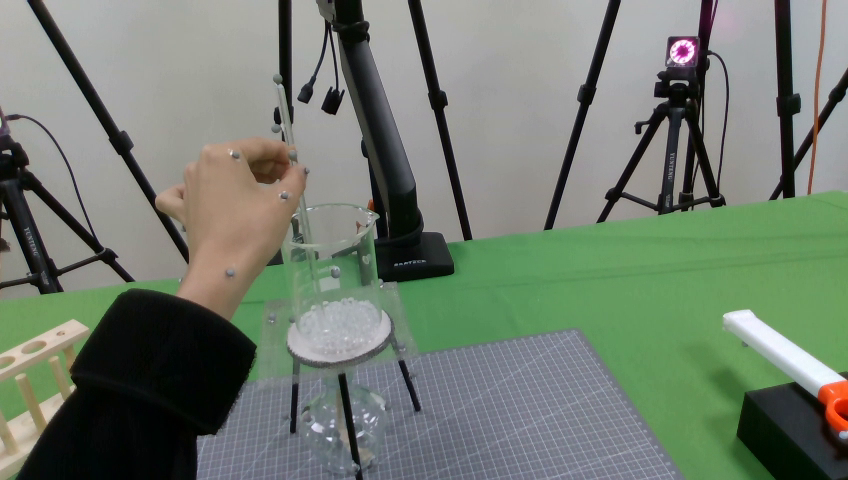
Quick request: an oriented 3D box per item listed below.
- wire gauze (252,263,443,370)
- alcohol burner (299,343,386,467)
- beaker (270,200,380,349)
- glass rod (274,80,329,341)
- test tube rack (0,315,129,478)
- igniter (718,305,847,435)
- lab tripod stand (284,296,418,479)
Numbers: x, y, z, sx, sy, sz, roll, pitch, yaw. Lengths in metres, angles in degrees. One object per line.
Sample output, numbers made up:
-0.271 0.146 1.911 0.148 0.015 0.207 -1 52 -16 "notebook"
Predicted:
-0.065 0.059 0.488 0.125 0.011 0.120 -14 26 -28 "wire gauze"
-0.073 0.140 0.532 0.078 0.120 0.077 -2 27 1 "alcohol burner"
-0.071 0.027 0.478 0.084 0.101 0.073 -19 32 -27 "beaker"
-0.091 -0.016 0.451 0.008 0.200 0.008 -7 15 2 "glass rod"
-0.414 0.171 0.557 0.066 0.086 0.242 15 33 33 "test tube rack"
0.340 0.126 0.495 0.057 0.025 0.274 -9 24 -8 "igniter"
-0.064 0.130 0.529 0.148 0.132 0.147 -2 28 1 "lab tripod stand"
